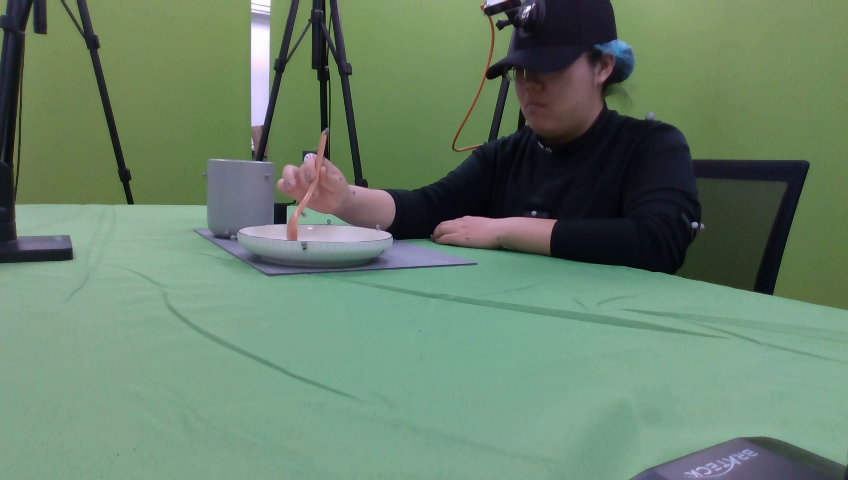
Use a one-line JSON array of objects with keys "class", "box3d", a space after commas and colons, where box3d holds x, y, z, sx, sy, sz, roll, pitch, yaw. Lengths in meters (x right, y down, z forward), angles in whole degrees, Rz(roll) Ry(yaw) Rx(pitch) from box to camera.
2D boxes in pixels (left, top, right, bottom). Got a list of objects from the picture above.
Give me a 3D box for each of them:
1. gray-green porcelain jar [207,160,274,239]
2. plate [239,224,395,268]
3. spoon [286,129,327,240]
[{"class": "gray-green porcelain jar", "box3d": [-0.304, -0.068, 1.003, 0.106, 0.126, 0.106, 3, 7, 0]}, {"class": "plate", "box3d": [-0.144, 0.007, 0.823, 0.208, 0.039, 0.207, 3, 7, 0]}, {"class": "spoon", "box3d": [-0.156, -0.073, 0.823, 0.022, 0.193, 0.041, 21, -31, -13]}]
